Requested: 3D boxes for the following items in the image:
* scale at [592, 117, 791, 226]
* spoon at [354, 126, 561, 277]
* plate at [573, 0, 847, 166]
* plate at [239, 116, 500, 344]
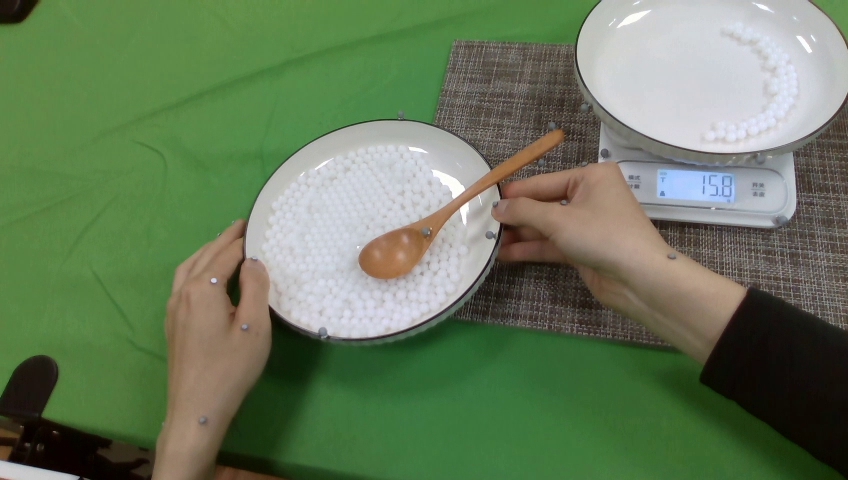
[{"bbox_3d":[0.223,-0.106,0.511,0.148,0.032,0.199,6,61,12],"label":"scale"},{"bbox_3d":[0.030,-0.033,0.468,0.194,0.022,0.041,-36,60,-4],"label":"spoon"},{"bbox_3d":[0.226,-0.140,0.492,0.207,0.039,0.206,-3,60,6],"label":"plate"},{"bbox_3d":[-0.042,-0.011,0.486,0.209,0.038,0.207,-4,59,7],"label":"plate"}]
